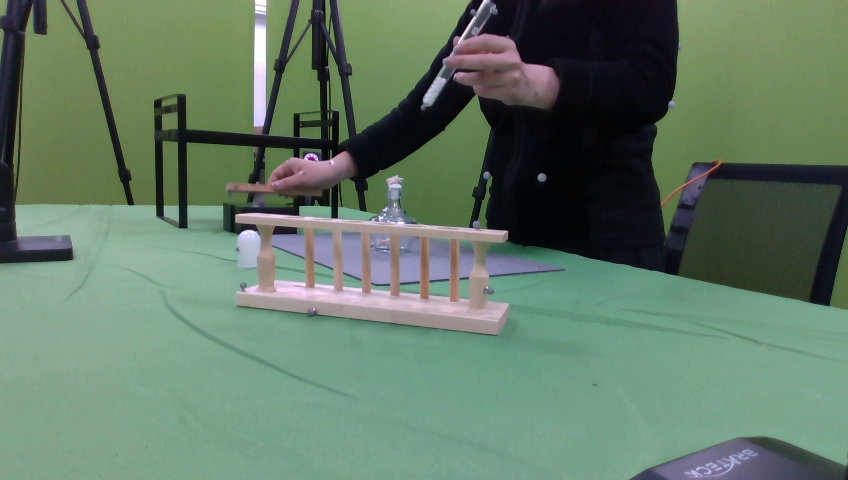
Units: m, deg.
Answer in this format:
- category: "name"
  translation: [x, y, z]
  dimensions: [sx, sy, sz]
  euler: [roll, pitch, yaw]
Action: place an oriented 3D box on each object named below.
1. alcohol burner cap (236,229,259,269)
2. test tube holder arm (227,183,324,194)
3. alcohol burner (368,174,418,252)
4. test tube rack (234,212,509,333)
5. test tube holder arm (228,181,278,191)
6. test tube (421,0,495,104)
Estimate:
- category: "alcohol burner cap"
  translation: [-0.221, 0.010, 0.759]
  dimensions: [0.034, 0.048, 0.034]
  euler: [-1, 11, 0]
- category: "test tube holder arm"
  translation: [-0.271, -0.096, 1.118]
  dimensions: [0.179, 0.015, 0.013]
  euler: [0, -10, -32]
- category: "alcohol burner"
  translation: [-0.047, -0.041, 0.922]
  dimensions: [0.078, 0.119, 0.078]
  euler: [1, 9, 0]
- category: "test tube rack"
  translation: [-0.047, 0.023, 0.547]
  dimensions: [0.242, 0.085, 0.067]
  euler: [4, 8, 15]
- category: "test tube holder arm"
  translation: [-0.307, -0.097, 1.089]
  dimensions: [0.088, 0.015, 0.010]
  euler: [0, -10, -32]
- category: "test tube"
  translation: [0.039, -0.229, 0.746]
  dimensions: [0.017, 0.150, 0.017]
  euler: [26, 33, -18]
